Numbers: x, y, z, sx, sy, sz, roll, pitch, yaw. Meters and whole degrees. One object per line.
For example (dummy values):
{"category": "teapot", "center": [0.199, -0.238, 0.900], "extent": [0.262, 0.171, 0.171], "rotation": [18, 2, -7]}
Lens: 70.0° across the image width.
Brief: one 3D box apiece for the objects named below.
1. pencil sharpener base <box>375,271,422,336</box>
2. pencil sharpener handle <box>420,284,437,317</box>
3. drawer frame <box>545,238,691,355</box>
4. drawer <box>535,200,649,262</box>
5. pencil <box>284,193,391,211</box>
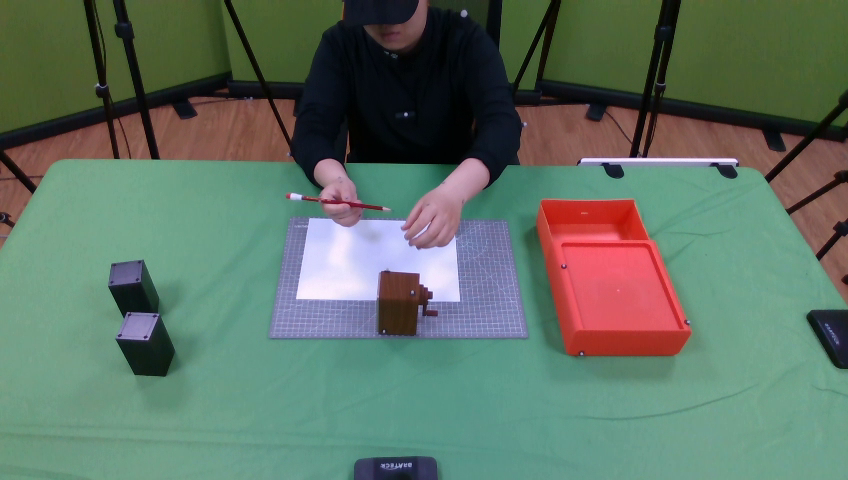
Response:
{"category": "pencil sharpener base", "center": [-0.043, 0.109, 1.025], "extent": [0.077, 0.107, 0.061], "rotation": [3, 45, -2]}
{"category": "pencil sharpener handle", "center": [0.009, 0.104, 1.017], "extent": [0.030, 0.068, 0.036], "rotation": [3, 40, -2]}
{"category": "drawer frame", "center": [0.338, 0.097, 1.085], "extent": [0.202, 0.083, 0.212], "rotation": [0, 46, -4]}
{"category": "drawer", "center": [0.332, 0.015, 1.169], "extent": [0.195, 0.073, 0.210], "rotation": [0, 46, -5]}
{"category": "pencil", "center": [-0.155, -0.066, 1.079], "extent": [0.194, 0.012, 0.012], "rotation": [8, 46, 3]}
